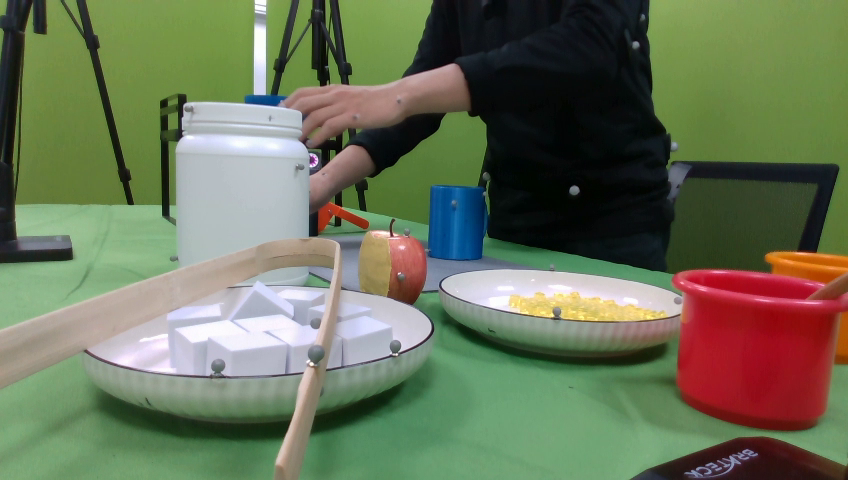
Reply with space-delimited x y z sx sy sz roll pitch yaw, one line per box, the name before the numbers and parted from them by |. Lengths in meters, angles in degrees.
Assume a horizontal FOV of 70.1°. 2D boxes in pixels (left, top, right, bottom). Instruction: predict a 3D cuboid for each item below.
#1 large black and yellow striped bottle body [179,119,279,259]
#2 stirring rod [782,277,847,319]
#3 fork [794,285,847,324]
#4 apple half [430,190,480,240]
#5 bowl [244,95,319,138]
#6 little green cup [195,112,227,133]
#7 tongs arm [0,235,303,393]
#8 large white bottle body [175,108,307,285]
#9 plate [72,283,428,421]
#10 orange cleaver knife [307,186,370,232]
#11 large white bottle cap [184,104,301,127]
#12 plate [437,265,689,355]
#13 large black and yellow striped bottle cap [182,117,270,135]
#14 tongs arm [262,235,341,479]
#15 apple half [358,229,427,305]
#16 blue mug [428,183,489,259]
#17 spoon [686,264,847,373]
large black and yellow striped bottle body | -0.271 -0.074 0.846 0.131 0.184 0.130 1 9 0
stirring rod | 0.344 0.019 0.461 0.014 0.006 0.176 -13 -27 -30
fork | 0.332 0.018 0.443 0.028 0.018 0.207 -1 -36 -15
apple half | 0.046 -0.041 0.905 0.081 0.081 0.032 2 17 -4
bowl | -0.293 -0.251 1.249 0.151 0.077 0.151 2 8 0
little green cup | -0.412 -0.227 1.171 0.061 0.038 0.061 3 8 0
tongs arm | -0.157 0.038 0.351 0.028 0.028 0.388 -3 8 12
large white bottle body | -0.188 -0.042 0.630 0.131 0.184 0.130 2 8 0
plate | -0.102 0.066 0.381 0.208 0.039 0.207 2 7 0
orange cleaver knife | -0.197 -0.056 1.140 0.212 0.077 0.012 29 0 -34
large white bottle cap | -0.184 -0.126 0.618 0.115 0.018 0.115 2 8 0
plate | 0.114 0.057 0.517 0.209 0.038 0.209 2 8 0
large black and yellow striped bottle cap | -0.272 -0.156 0.833 0.115 0.019 0.115 1 7 0
tongs arm | -0.073 0.039 0.349 0.051 0.026 0.384 -1 10 -3
apple half | -0.026 0.028 0.570 0.053 0.074 0.080 2 3 -28
blue mug | 0.059 -0.031 0.907 0.082 0.106 0.117 9 10 42
spoon | 0.214 0.032 0.328 0.042 0.021 0.193 -3 -35 -26
